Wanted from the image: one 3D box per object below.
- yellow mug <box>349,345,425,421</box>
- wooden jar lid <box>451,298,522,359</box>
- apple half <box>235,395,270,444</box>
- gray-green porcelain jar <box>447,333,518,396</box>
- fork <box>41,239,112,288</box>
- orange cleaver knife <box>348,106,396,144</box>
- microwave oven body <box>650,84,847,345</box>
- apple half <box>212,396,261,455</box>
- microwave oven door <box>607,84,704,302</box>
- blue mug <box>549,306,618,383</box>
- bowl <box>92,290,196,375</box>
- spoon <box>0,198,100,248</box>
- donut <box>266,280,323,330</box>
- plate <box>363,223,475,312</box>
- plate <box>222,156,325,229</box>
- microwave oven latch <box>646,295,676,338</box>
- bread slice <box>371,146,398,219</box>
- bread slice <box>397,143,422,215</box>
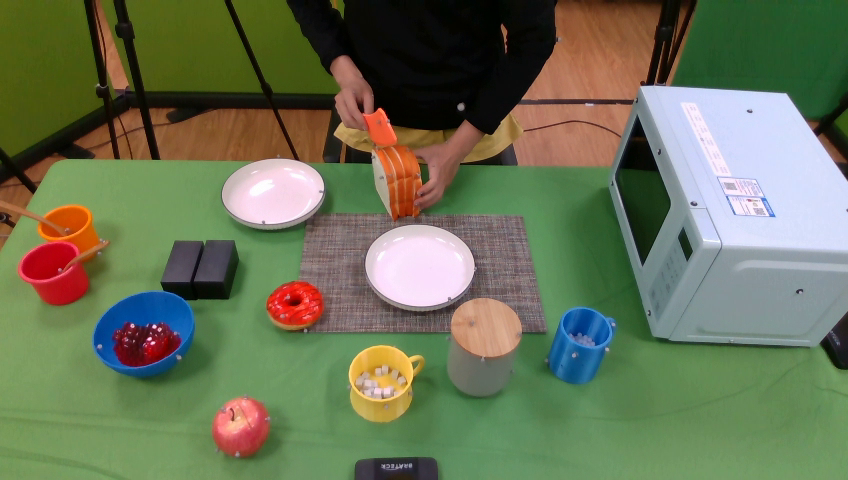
[{"bbox_3d":[-0.054,0.217,0.954,0.131,0.064,0.099,-24,52,-25],"label":"yellow mug"},{"bbox_3d":[0.093,0.135,0.914,0.108,0.021,0.107,3,48,-3],"label":"wooden jar lid"},{"bbox_3d":[-0.245,0.259,0.893,0.033,0.082,0.081,-29,55,-22],"label":"apple half"},{"bbox_3d":[0.091,0.178,0.960,0.106,0.127,0.105,2,46,-2],"label":"gray-green porcelain jar"},{"bbox_3d":[-0.591,0.040,1.028,0.207,0.019,0.028,-27,37,29],"label":"fork"},{"bbox_3d":[-0.102,-0.224,1.178,0.012,0.077,0.210,-27,22,-17],"label":"orange cleaver knife"},{"bbox_3d":[0.569,-0.054,1.116,0.326,0.261,0.439,2,46,-1],"label":"microwave oven body"},{"bbox_3d":[-0.276,0.276,0.877,0.053,0.075,0.080,-29,58,-21],"label":"apple half"},{"bbox_3d":[0.424,-0.096,1.138,0.039,0.245,0.353,3,46,-1],"label":"microwave oven door"},{"bbox_3d":[0.269,0.167,0.997,0.116,0.106,0.082,-19,51,-21],"label":"blue mug"},{"bbox_3d":[-0.436,0.161,0.971,0.151,0.077,0.150,2,46,-2],"label":"bowl"},{"bbox_3d":[-0.684,-0.035,1.092,0.021,0.195,0.041,-34,41,26],"label":"spoon"},{"bbox_3d":[-0.223,0.112,1.051,0.099,0.048,0.098,2,46,-2],"label":"donut"},{"bbox_3d":[-0.009,0.054,1.126,0.208,0.039,0.206,2,46,-2],"label":"plate"},{"bbox_3d":[-0.308,-0.094,1.251,0.209,0.038,0.208,2,46,-2],"label":"plate"},{"bbox_3d":[0.412,0.133,1.061,0.030,0.029,0.078,3,46,0],"label":"microwave oven latch"},{"bbox_3d":[-0.080,-0.124,1.227,0.018,0.135,0.106,-19,48,-13],"label":"bread slice"},{"bbox_3d":[-0.029,-0.131,1.240,0.019,0.132,0.104,-16,49,-16],"label":"bread slice"}]
